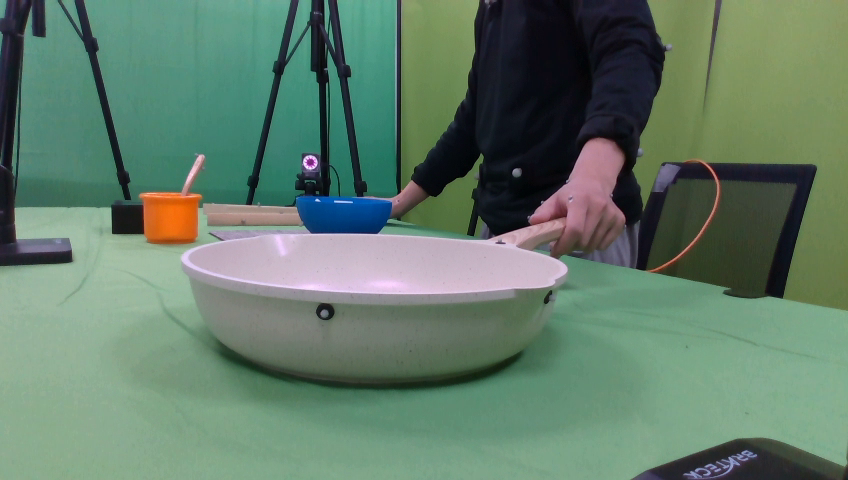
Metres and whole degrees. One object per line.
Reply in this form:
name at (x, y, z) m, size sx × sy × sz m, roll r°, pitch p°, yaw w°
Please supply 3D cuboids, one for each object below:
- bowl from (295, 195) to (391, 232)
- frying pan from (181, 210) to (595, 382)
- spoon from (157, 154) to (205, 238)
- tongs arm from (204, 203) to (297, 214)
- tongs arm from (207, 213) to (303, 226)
bowl at (-0.127, -0.028, 0.946) m, size 0.151 × 0.077 × 0.151 m, roll 2°, pitch 7°, yaw 0°
frying pan at (0.034, 0.019, 0.557) m, size 0.305 × 0.102 × 0.490 m, roll 10°, pitch 19°, yaw 42°
spoon at (-0.392, -0.076, 0.998) m, size 0.041 × 0.193 × 0.021 m, roll 1°, pitch -36°, yaw 5°
tongs arm at (-0.295, -0.062, 1.370) m, size 0.386 × 0.026 × 0.050 m, roll 1°, pitch 8°, yaw -19°
tongs arm at (-0.264, -0.047, 1.297) m, size 0.390 × 0.028 × 0.028 m, roll -2°, pitch 6°, yaw -32°
